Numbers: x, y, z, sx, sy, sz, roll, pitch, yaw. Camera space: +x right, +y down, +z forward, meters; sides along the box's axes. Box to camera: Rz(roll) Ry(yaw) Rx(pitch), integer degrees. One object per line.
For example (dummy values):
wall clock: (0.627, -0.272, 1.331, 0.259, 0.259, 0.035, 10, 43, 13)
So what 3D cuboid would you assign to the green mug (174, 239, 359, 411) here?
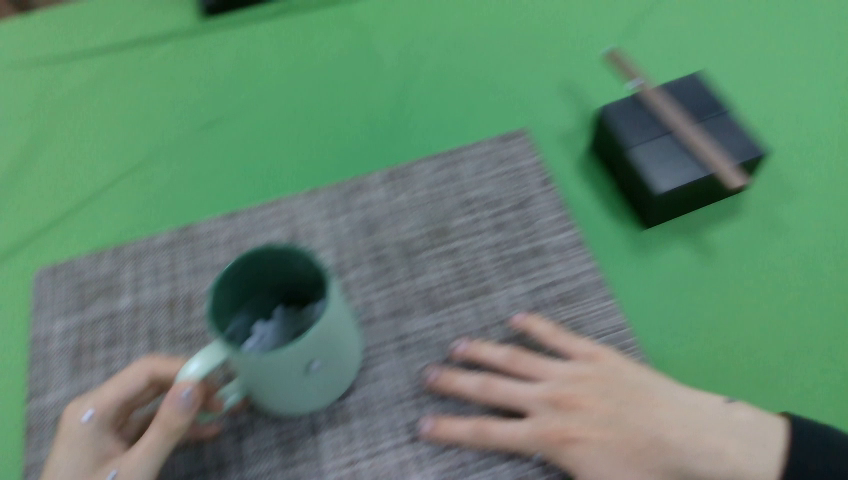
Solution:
green mug: (-0.109, 0.069, 0.414, 0.125, 0.106, 0.092, -38, 63, -18)

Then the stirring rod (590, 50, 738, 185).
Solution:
stirring rod: (0.196, -0.108, 0.509, 0.014, 0.006, 0.174, -26, 59, -12)
